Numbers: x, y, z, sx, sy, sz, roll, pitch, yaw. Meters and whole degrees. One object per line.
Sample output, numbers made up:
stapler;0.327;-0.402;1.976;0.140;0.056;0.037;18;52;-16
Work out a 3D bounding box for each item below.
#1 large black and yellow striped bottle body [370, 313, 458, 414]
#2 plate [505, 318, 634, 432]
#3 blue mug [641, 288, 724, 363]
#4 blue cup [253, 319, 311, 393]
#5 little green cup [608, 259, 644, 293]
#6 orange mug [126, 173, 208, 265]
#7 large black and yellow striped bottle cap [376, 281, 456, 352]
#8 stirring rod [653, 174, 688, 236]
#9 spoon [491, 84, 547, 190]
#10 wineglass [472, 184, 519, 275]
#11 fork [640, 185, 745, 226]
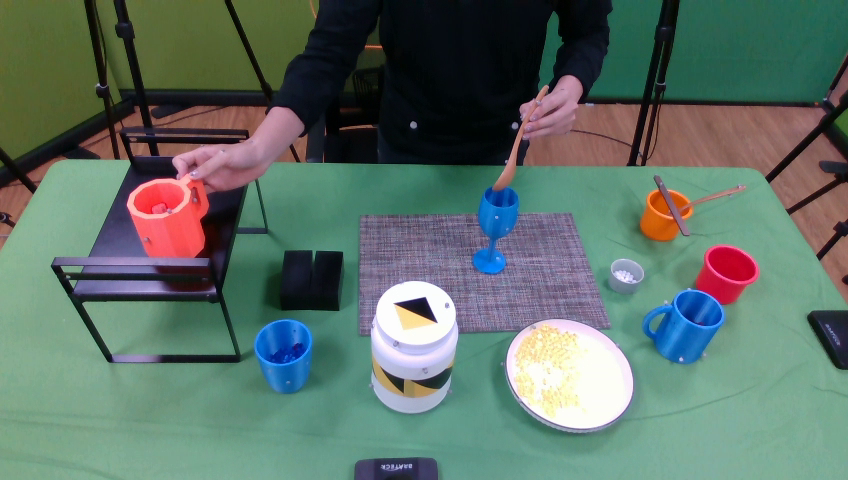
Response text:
large black and yellow striped bottle body;-0.017;0.165;0.924;0.131;0.185;0.130;2;46;-2
plate;0.235;0.221;0.991;0.209;0.038;0.208;2;45;-2
blue mug;0.432;0.144;1.033;0.116;0.106;0.082;8;46;5
blue cup;-0.217;0.187;0.943;0.093;0.101;0.092;3;45;-3
little green cup;0.379;0.070;1.147;0.061;0.039;0.061;3;45;-3
orange mug;-0.371;-0.039;0.902;0.083;0.101;0.126;18;51;14
large black and yellow striped bottle cap;-0.011;0.107;0.863;0.115;0.019;0.114;2;47;-2
stirring rod;0.491;-0.072;1.211;0.014;0.006;0.175;0;47;-6
spoon;0.158;-0.168;1.009;0.021;0.194;0.042;32;21;31
wineglass;0.129;-0.018;1.113;0.074;0.173;0.073;2;46;-2
fork;0.534;-0.069;1.215;0.207;0.019;0.028;-26;27;33
